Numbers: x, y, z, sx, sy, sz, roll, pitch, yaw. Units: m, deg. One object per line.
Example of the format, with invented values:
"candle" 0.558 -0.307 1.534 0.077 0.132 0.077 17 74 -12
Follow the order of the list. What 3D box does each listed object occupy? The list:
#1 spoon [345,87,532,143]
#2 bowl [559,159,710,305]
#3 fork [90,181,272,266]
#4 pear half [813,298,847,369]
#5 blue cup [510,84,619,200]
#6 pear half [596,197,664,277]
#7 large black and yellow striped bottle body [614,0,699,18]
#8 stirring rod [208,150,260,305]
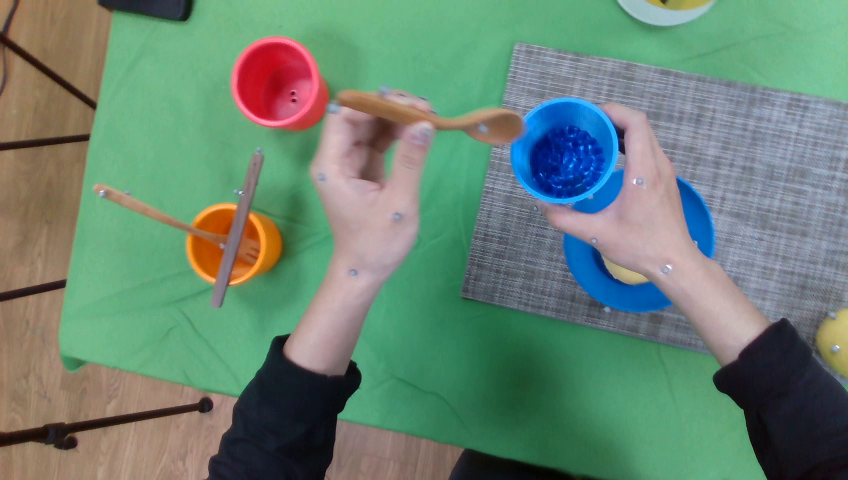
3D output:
"spoon" 0.019 -0.081 0.403 0.041 0.194 0.021 -19 84 35
"bowl" 0.218 -0.008 0.655 0.151 0.077 0.151 0 92 6
"fork" -0.261 -0.016 0.669 0.209 0.018 0.028 27 106 -39
"pear half" 0.443 0.099 0.621 0.056 0.110 0.076 -8 87 7
"blue cup" 0.125 -0.074 0.530 0.092 0.100 0.092 0 90 16
"pear half" 0.223 -0.004 0.648 0.070 0.031 0.088 -8 87 3
"large black and yellow striped bottle body" 0.252 -0.311 0.592 0.130 0.184 0.130 0 91 6
"stirring rod" -0.208 -0.014 0.663 0.014 0.006 0.176 16 94 2
